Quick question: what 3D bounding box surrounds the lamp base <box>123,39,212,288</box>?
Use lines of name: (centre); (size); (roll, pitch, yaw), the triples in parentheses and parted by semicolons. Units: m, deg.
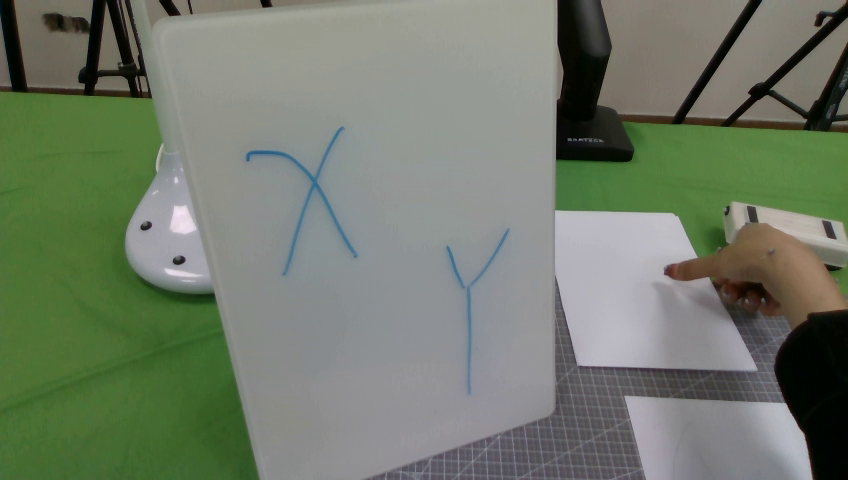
lamp base: (-0.209, -0.075, 0.541); (0.177, 0.182, 0.160); (31, 47, 31)

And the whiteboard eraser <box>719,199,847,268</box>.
whiteboard eraser: (0.361, -0.006, 0.616); (0.112, 0.042, 0.055); (13, 43, 10)

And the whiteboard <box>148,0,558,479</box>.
whiteboard: (-0.037, -0.007, 0.426); (0.218, 0.307, 0.142); (-12, 24, -17)
